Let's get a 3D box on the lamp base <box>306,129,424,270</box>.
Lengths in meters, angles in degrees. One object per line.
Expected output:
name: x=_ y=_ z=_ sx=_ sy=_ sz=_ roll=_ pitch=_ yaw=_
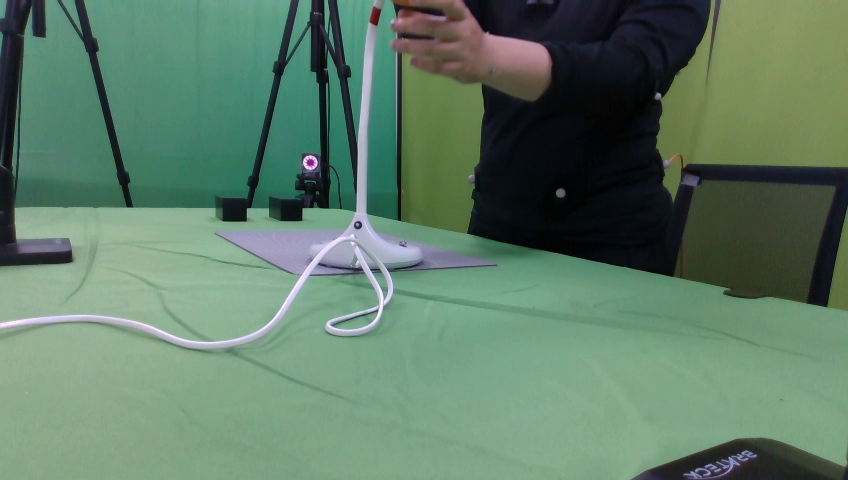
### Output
lamp base: x=-0.076 y=-0.057 z=0.810 sx=0.161 sy=0.180 sz=0.179 roll=2 pitch=10 yaw=-4

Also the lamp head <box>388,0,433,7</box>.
lamp head: x=-0.017 y=-0.324 z=0.669 sx=0.112 sy=0.123 sz=0.112 roll=5 pitch=4 yaw=0
